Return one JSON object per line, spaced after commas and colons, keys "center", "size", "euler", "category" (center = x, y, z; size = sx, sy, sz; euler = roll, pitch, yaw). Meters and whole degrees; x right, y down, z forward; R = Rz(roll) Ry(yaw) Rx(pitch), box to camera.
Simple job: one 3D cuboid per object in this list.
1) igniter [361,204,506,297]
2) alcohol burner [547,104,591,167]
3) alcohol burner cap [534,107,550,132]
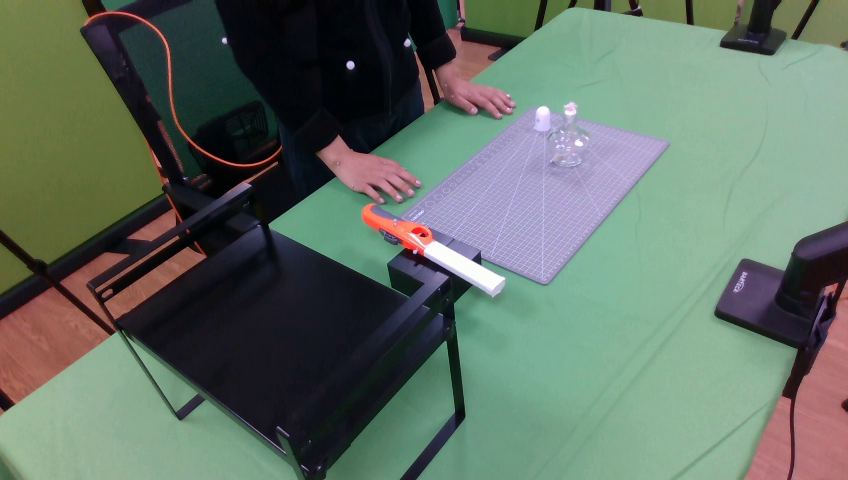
{"center": [0.003, 0.008, 0.889], "size": [0.274, 0.025, 0.057], "euler": [29, 49, 33], "category": "igniter"}
{"center": [0.260, -0.192, 1.087], "size": [0.078, 0.119, 0.077], "euler": [-5, 42, 5], "category": "alcohol burner"}
{"center": [0.236, -0.243, 1.206], "size": [0.034, 0.048, 0.033], "euler": [-4, 39, 4], "category": "alcohol burner cap"}
